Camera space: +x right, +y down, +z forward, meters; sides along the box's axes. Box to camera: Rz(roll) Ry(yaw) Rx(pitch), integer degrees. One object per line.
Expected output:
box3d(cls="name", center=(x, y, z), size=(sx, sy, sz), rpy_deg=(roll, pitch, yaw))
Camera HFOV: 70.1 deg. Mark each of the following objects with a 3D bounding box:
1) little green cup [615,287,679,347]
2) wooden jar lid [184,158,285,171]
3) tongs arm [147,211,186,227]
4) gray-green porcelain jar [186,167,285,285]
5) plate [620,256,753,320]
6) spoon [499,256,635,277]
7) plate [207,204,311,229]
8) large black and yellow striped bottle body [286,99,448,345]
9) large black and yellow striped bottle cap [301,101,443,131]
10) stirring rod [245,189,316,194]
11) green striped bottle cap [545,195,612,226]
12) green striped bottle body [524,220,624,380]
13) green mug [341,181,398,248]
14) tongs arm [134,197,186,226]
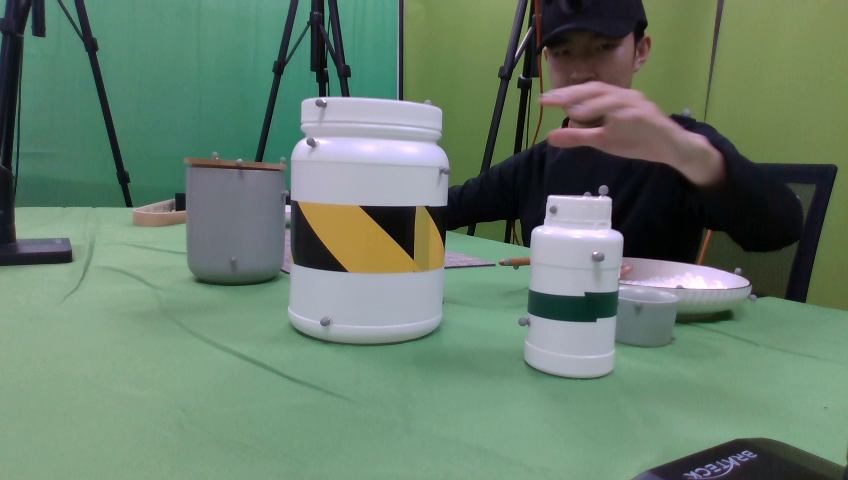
box3d(cls="little green cup", center=(0.180, 0.064, 0.506), size=(0.061, 0.038, 0.061), rpy_deg=(1, 8, 0))
box3d(cls="wooden jar lid", center=(-0.210, -0.078, 0.674), size=(0.108, 0.020, 0.108), rpy_deg=(5, 6, 0))
box3d(cls="tongs arm", center=(-0.478, -0.059, 1.322), size=(0.028, 0.028, 0.388), rpy_deg=(12, 8, 7))
box3d(cls="gray-green porcelain jar", center=(-0.212, -0.017, 0.682), size=(0.106, 0.126, 0.106), rpy_deg=(2, 7, 0))
box3d(cls="plate", center=(0.234, 0.049, 0.651), size=(0.209, 0.038, 0.209), rpy_deg=(2, 7, 0))
box3d(cls="spoon", center=(0.162, 0.027, 0.678), size=(0.195, 0.021, 0.041), rpy_deg=(8, 3, -30))
box3d(cls="plate", center=(-0.342, -0.050, 1.259), size=(0.208, 0.039, 0.207), rpy_deg=(2, 7, 0))
box3d(cls="large black and yellow striped bottle body", center=(-0.047, -0.018, 0.501), size=(0.131, 0.184, 0.130), rpy_deg=(2, 7, 0))
box3d(cls="large black and yellow striped bottle cap", center=(-0.042, -0.100, 0.491), size=(0.115, 0.019, 0.115), rpy_deg=(1, 8, 0))
box3d(cls="stirring rod", center=(-0.351, -0.120, 1.490), size=(0.177, 0.014, 0.006), rpy_deg=(-3, 7, -29))
box3d(cls="green striped bottle cap", center=(0.106, -0.020, 0.414), size=(0.044, 0.020, 0.044), rpy_deg=(2, 4, 0))
box3d(cls="green striped bottle body", center=(0.104, 0.031, 0.422), size=(0.063, 0.119, 0.063), rpy_deg=(2, 8, 0))
box3d(cls="green mug", center=(-0.089, -0.044, 0.997), size=(0.093, 0.105, 0.125), rpy_deg=(1, 7, -8))
box3d(cls="tongs arm", center=(-0.556, -0.066, 1.320), size=(0.051, 0.026, 0.384), rpy_deg=(7, 7, -5))
